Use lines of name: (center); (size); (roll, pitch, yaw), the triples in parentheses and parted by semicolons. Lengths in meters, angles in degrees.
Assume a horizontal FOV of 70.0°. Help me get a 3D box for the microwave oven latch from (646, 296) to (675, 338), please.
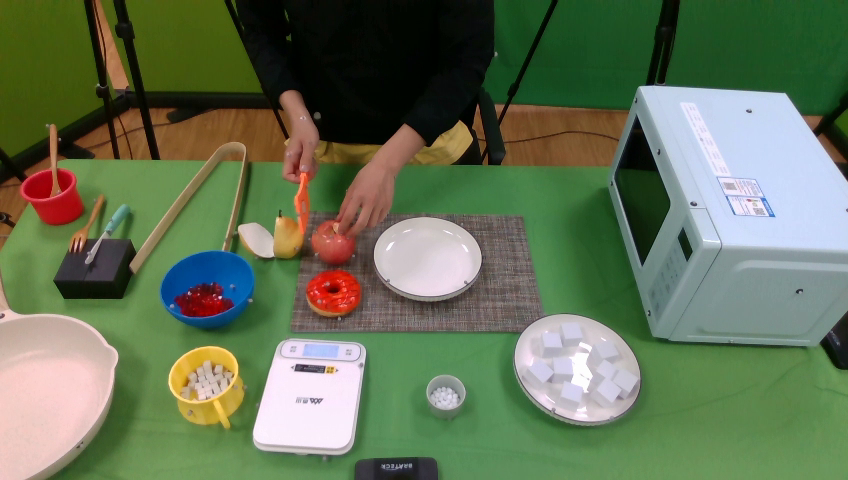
microwave oven latch: (0.412, 0.134, 1.061); (0.030, 0.029, 0.078); (4, 45, 1)

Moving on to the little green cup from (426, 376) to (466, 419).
little green cup: (0.033, 0.248, 0.950); (0.061, 0.039, 0.061); (2, 46, -2)

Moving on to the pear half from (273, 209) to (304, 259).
pear half: (-0.255, -0.016, 1.134); (0.056, 0.110, 0.076); (-2, 49, -8)

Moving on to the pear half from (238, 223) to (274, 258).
pear half: (-0.322, 0.004, 1.145); (0.031, 0.088, 0.070); (-36, 42, 23)

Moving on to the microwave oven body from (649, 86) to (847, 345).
microwave oven body: (0.567, -0.053, 1.118); (0.326, 0.261, 0.439); (2, 45, -1)

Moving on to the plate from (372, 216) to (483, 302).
plate: (0.006, 0.038, 1.145); (0.209, 0.038, 0.208); (2, 46, -2)

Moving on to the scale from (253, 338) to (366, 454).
scale: (-0.175, 0.236, 0.951); (0.149, 0.032, 0.199); (4, 45, -1)

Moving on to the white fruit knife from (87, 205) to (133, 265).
white fruit knife: (-0.584, -0.013, 1.129); (0.016, 0.027, 0.206); (-1, 32, -4)

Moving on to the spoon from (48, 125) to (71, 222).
spoon: (-0.719, -0.131, 1.189); (0.041, 0.021, 0.193); (-3, 91, -6)

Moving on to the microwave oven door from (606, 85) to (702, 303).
microwave oven door: (0.422, -0.094, 1.140); (0.039, 0.245, 0.353); (2, 46, -1)

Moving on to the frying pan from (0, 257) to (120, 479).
frying pan: (-0.647, 0.164, 0.936); (0.307, 0.103, 0.485); (-19, 58, -22)

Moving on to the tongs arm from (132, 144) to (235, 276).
tongs arm: (-0.484, -0.075, 1.237); (0.028, 0.028, 0.385); (4, 45, 14)

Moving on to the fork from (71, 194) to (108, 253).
fork: (-0.634, -0.036, 1.158); (0.028, 0.019, 0.206); (-8, 32, -8)

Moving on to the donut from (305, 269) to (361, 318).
donut: (-0.160, 0.094, 1.075); (0.099, 0.048, 0.098); (4, 45, -3)

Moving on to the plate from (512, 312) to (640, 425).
plate: (0.246, 0.213, 0.999); (0.208, 0.039, 0.206); (2, 46, -2)

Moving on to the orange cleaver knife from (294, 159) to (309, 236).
orange cleaver knife: (-0.220, -0.082, 1.108); (0.012, 0.077, 0.210); (-6, 32, -2)

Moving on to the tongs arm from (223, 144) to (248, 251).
tongs arm: (-0.397, -0.073, 1.232); (0.051, 0.027, 0.382); (-4, 45, 1)

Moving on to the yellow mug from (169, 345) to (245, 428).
yellow mug: (-0.322, 0.230, 0.922); (0.100, 0.064, 0.130); (-24, 53, -25)

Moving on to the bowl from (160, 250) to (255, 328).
bowl: (-0.362, 0.098, 1.040); (0.151, 0.077, 0.150); (2, 45, -2)

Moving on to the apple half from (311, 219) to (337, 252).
apple half: (-0.192, -0.006, 1.147); (0.032, 0.081, 0.081); (28, 51, 18)

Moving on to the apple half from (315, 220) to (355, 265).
apple half: (-0.159, 0.011, 1.135); (0.053, 0.075, 0.080); (29, 46, 19)
